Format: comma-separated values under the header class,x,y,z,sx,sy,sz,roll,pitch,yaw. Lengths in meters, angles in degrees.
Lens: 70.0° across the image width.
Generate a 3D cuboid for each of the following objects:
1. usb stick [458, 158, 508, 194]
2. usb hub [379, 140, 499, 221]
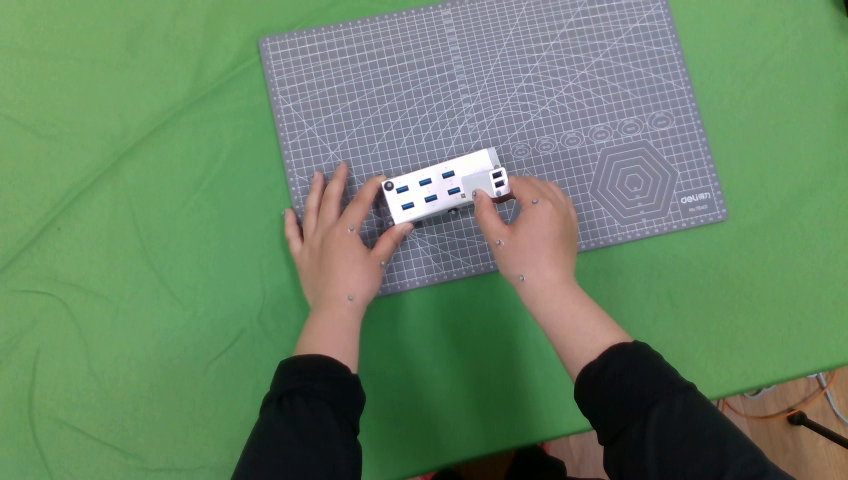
class,x,y,z,sx,sy,sz,roll,pitch,yaw
usb stick,0.052,-0.059,0.577,0.021,0.059,0.027,-27,99,-30
usb hub,0.019,-0.063,0.630,0.125,0.025,0.049,-18,84,-4
